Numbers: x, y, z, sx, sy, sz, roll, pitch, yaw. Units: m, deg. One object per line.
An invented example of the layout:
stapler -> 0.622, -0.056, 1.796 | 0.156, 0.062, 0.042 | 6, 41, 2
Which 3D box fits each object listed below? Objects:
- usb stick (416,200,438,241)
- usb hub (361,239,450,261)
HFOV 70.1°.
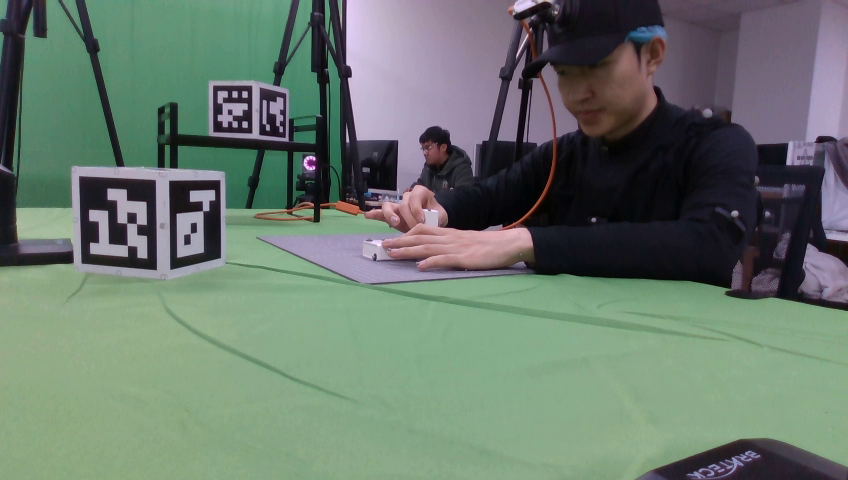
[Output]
usb stick -> 0.004, -0.030, 0.901 | 0.027, 0.059, 0.021 | 2, 15, 30
usb hub -> -0.027, 0.013, 0.894 | 0.126, 0.025, 0.049 | -2, 8, -32
